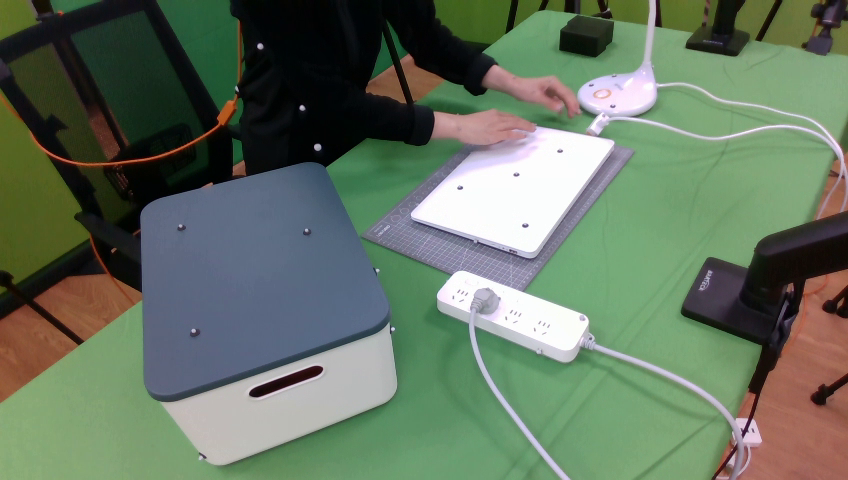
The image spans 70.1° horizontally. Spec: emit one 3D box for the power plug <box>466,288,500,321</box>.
[{"bbox_3d":[0.072,0.093,0.813,0.073,0.053,0.035,-37,49,-28],"label":"power plug"}]

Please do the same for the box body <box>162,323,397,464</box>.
[{"bbox_3d":[-0.205,0.080,0.802,0.255,0.161,0.361,-18,41,-13],"label":"box body"}]

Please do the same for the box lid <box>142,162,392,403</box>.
[{"bbox_3d":[-0.212,0.025,0.752,0.264,0.015,0.368,-17,41,-13],"label":"box lid"}]

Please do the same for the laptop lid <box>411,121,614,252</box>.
[{"bbox_3d":[0.164,-0.112,1.068,0.240,0.013,0.357,19,46,30],"label":"laptop lid"}]

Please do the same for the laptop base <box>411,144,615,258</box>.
[{"bbox_3d":[0.167,-0.102,1.075,0.234,0.023,0.355,16,45,30],"label":"laptop base"}]

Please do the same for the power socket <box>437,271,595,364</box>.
[{"bbox_3d":[0.118,0.102,0.830,0.225,0.033,0.072,20,48,28],"label":"power socket"}]

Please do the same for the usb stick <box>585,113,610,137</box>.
[{"bbox_3d":[0.330,-0.215,1.164,0.021,0.027,0.059,40,79,-6],"label":"usb stick"}]

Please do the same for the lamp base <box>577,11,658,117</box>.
[{"bbox_3d":[0.407,-0.365,1.223,0.180,0.181,0.159,-20,42,-18],"label":"lamp base"}]
